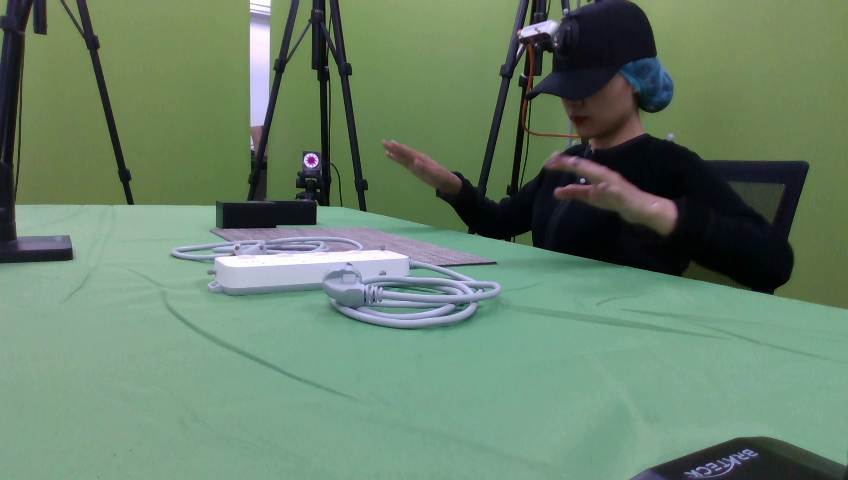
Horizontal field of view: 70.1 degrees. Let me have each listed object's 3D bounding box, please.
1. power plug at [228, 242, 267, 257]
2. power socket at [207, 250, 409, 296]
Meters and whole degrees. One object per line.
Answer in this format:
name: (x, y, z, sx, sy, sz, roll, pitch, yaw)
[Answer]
power plug: (-0.217, 0.024, 0.737, 0.053, 0.035, 0.072, -23, -5, -9)
power socket: (-0.119, 0.033, 0.668, 0.228, 0.032, 0.072, -2, 9, -31)
